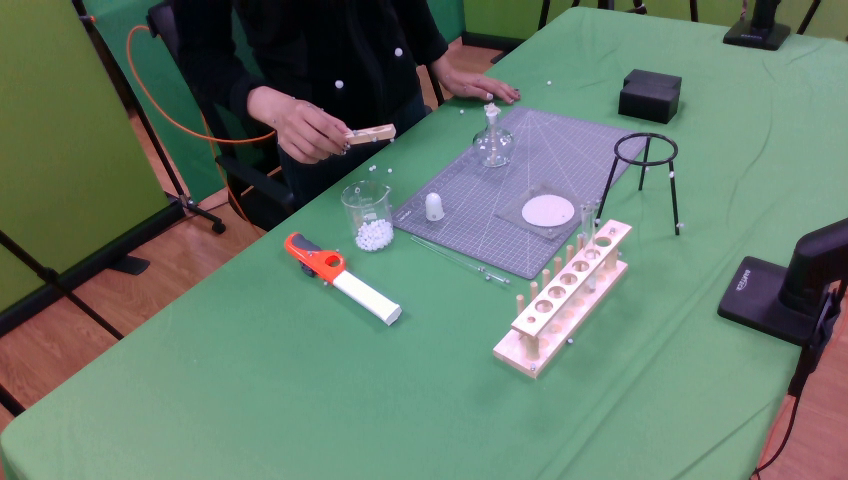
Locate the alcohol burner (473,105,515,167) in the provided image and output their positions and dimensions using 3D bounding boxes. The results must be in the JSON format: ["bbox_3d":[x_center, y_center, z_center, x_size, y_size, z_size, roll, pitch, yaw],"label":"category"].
[{"bbox_3d":[0.128,-0.196,1.116,0.078,0.119,0.077,-4,40,4],"label":"alcohol burner"}]

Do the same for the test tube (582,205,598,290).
[{"bbox_3d":[0.220,0.014,0.798,0.017,0.151,0.017,-9,43,9],"label":"test tube"}]

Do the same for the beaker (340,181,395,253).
[{"bbox_3d":[-0.087,-0.037,0.985,0.084,0.101,0.073,-18,41,-11],"label":"beaker"}]

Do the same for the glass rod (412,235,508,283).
[{"bbox_3d":[0.051,0.028,0.952,0.198,0.008,0.008,25,52,37],"label":"glass rod"}]

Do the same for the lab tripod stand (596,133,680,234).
[{"bbox_3d":[0.338,-0.091,0.940,0.148,0.132,0.147,-7,39,6],"label":"lab tripod stand"}]

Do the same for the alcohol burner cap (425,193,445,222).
[{"bbox_3d":[0.017,-0.058,1.029,0.034,0.048,0.033,-6,40,5],"label":"alcohol burner cap"}]

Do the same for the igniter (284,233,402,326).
[{"bbox_3d":[-0.136,0.054,0.942,0.274,0.025,0.057,30,63,37],"label":"igniter"}]

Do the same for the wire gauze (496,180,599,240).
[{"bbox_3d":[0.206,-0.050,1.012,0.125,0.011,0.120,-34,45,-26],"label":"wire gauze"}]

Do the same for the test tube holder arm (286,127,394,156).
[{"bbox_3d":[-0.126,-0.144,0.885,0.177,0.015,0.013,-7,35,21],"label":"test tube holder arm"}]

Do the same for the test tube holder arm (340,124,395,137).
[{"bbox_3d":[-0.083,-0.152,0.873,0.087,0.015,0.010,-7,35,22],"label":"test tube holder arm"}]

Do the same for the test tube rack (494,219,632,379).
[{"bbox_3d":[0.191,0.068,0.818,0.066,0.085,0.243,25,51,35],"label":"test tube rack"}]
